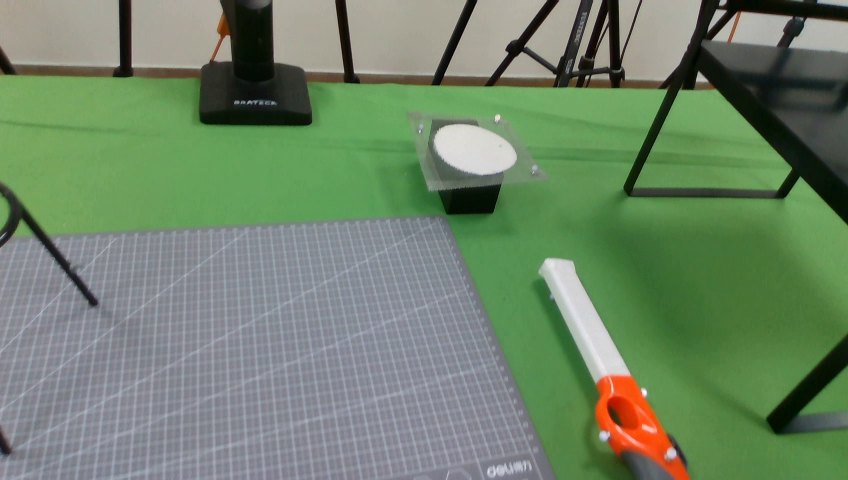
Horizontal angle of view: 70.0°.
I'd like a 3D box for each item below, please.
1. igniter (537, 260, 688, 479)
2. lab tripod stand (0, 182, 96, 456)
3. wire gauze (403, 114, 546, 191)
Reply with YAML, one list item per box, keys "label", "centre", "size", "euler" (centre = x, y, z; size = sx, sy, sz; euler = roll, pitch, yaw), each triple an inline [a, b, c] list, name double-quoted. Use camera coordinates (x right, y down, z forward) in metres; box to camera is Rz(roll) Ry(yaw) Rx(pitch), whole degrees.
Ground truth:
- label: "igniter"
  centre: [0.146, 0.118, 0.462]
  size: [0.057, 0.025, 0.273]
  euler: [6, 42, -22]
- label: "lab tripod stand"
  centre: [-0.279, 0.039, 0.370]
  size: [0.149, 0.132, 0.147]
  euler: [8, 42, -7]
- label: "wire gauze"
  centre: [0.048, -0.091, 0.611]
  size: [0.122, 0.011, 0.123]
  euler: [-2, 44, -17]
